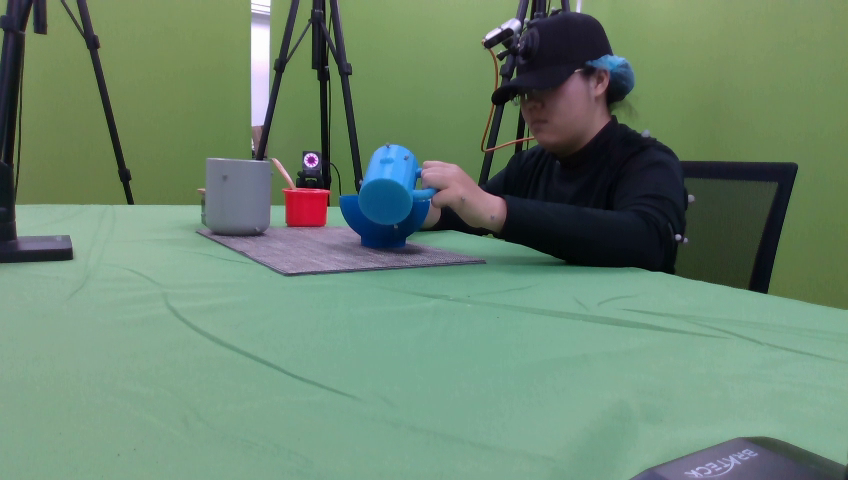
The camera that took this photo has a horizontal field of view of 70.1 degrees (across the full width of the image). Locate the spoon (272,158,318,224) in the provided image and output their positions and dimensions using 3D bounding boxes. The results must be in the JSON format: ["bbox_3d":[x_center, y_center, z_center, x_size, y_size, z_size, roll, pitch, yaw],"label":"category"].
[{"bbox_3d":[-0.268,-0.103,1.236,0.042,0.193,0.021,-10,-32,-40],"label":"spoon"}]

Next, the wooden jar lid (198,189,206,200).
[{"bbox_3d":[-0.382,-0.088,1.175,0.108,0.020,0.108,3,8,0],"label":"wooden jar lid"}]

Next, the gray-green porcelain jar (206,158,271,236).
[{"bbox_3d":[-0.316,-0.074,1.032,0.106,0.126,0.106,3,7,0],"label":"gray-green porcelain jar"}]

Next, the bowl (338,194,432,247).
[{"bbox_3d":[-0.065,-0.031,0.984,0.151,0.077,0.151,3,7,0],"label":"bowl"}]

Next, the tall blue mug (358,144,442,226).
[{"bbox_3d":[-0.035,-0.076,0.876,0.107,0.077,0.108,22,33,-10],"label":"tall blue mug"}]
